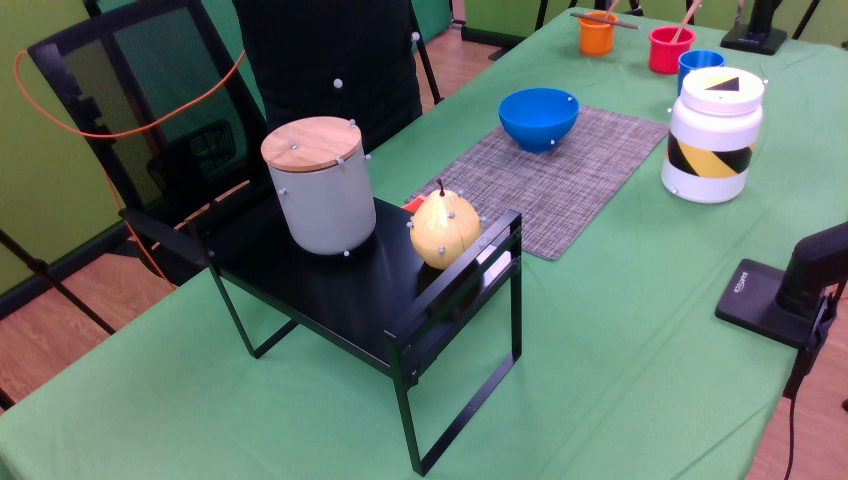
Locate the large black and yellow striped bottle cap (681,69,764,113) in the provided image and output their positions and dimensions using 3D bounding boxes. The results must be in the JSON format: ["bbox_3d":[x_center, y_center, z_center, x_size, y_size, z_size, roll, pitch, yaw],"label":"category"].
[{"bbox_3d":[0.453,-0.229,0.921,0.115,0.019,0.114,-4,39,4],"label":"large black and yellow striped bottle cap"}]

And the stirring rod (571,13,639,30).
[{"bbox_3d":[0.418,-0.508,1.404,0.174,0.006,0.014,28,55,35],"label":"stirring rod"}]

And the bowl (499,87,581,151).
[{"bbox_3d":[0.220,-0.223,1.156,0.151,0.077,0.150,-4,40,4],"label":"bowl"}]

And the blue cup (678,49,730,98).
[{"bbox_3d":[0.542,-0.310,1.194,0.092,0.101,0.092,-6,41,6],"label":"blue cup"}]

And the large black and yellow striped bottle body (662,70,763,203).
[{"bbox_3d":[0.464,-0.166,0.976,0.131,0.185,0.130,-5,41,5],"label":"large black and yellow striped bottle body"}]

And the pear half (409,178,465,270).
[{"bbox_3d":[0.010,-0.019,0.654,0.056,0.110,0.076,-17,37,-9],"label":"pear half"}]

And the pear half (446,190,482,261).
[{"bbox_3d":[0.046,-0.020,0.665,0.031,0.088,0.070,-17,38,-8],"label":"pear half"}]

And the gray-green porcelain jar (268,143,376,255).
[{"bbox_3d":[-0.114,-0.055,0.704,0.106,0.127,0.105,-4,40,4],"label":"gray-green porcelain jar"}]

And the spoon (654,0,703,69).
[{"bbox_3d":[0.569,-0.462,1.335,0.041,0.022,0.193,34,99,37],"label":"spoon"}]

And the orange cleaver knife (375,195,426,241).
[{"bbox_3d":[-0.037,-0.029,0.973,0.210,0.077,0.012,-8,33,50],"label":"orange cleaver knife"}]

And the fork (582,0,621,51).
[{"bbox_3d":[0.446,-0.538,1.438,0.207,0.019,0.028,-57,36,12],"label":"fork"}]

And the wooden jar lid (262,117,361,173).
[{"bbox_3d":[-0.122,-0.101,0.663,0.108,0.021,0.108,-3,39,3],"label":"wooden jar lid"}]
